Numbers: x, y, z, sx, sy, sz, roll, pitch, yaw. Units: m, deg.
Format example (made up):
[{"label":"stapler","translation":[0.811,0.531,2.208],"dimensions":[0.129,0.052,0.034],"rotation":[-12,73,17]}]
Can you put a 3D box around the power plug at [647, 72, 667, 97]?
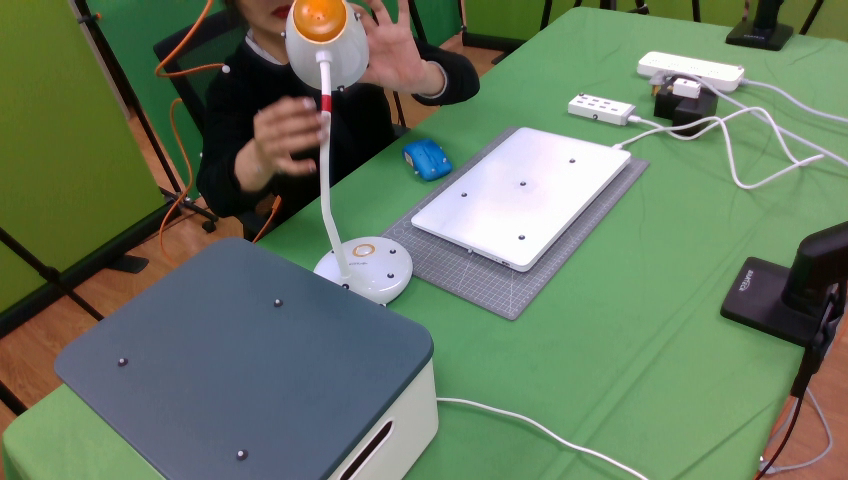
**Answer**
[{"label":"power plug","translation":[0.493,-0.321,1.261],"dimensions":[0.073,0.052,0.035],"rotation":[1,20,-41]}]

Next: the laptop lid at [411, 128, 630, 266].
[{"label":"laptop lid","translation":[0.172,-0.093,1.049],"dimensions":[0.239,0.013,0.358],"rotation":[23,50,36]}]

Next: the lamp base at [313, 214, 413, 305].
[{"label":"lamp base","translation":[-0.107,0.002,0.882],"dimensions":[0.160,0.181,0.178],"rotation":[-7,43,4]}]

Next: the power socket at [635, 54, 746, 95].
[{"label":"power socket","translation":[0.564,-0.357,1.293],"dimensions":[0.225,0.033,0.072],"rotation":[24,51,33]}]

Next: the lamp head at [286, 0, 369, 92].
[{"label":"lamp head","translation":[-0.128,-0.260,0.782],"dimensions":[0.112,0.112,0.123],"rotation":[-13,0,-4]}]

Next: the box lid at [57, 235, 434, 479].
[{"label":"box lid","translation":[-0.198,0.123,0.653],"dimensions":[0.368,0.015,0.264],"rotation":[22,49,32]}]

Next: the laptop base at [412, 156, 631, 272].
[{"label":"laptop base","translation":[0.176,-0.084,1.055],"dimensions":[0.233,0.023,0.355],"rotation":[21,48,36]}]

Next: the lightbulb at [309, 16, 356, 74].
[{"label":"lightbulb","translation":[-0.127,-0.263,0.807],"dimensions":[0.059,0.108,0.059],"rotation":[-1,79,8]}]

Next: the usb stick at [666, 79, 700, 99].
[{"label":"usb stick","translation":[0.492,-0.288,1.152],"dimensions":[0.058,0.027,0.021],"rotation":[20,50,34]}]

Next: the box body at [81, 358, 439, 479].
[{"label":"box body","translation":[-0.189,0.179,0.702],"dimensions":[0.361,0.161,0.255],"rotation":[22,49,32]}]

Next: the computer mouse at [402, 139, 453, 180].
[{"label":"computer mouse","translation":[0.006,-0.159,1.165],"dimensions":[0.063,0.041,0.116],"rotation":[-21,45,-16]}]

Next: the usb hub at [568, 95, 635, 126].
[{"label":"usb hub","translation":[0.360,-0.264,1.228],"dimensions":[0.124,0.025,0.049],"rotation":[24,49,34]}]
